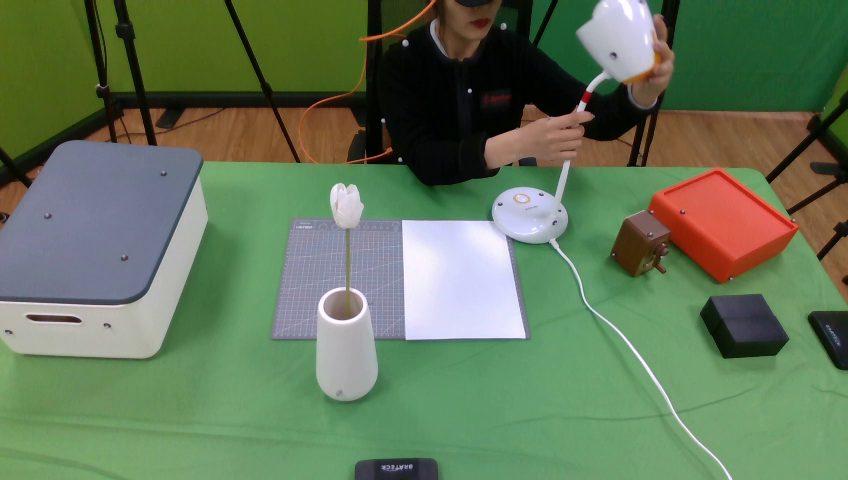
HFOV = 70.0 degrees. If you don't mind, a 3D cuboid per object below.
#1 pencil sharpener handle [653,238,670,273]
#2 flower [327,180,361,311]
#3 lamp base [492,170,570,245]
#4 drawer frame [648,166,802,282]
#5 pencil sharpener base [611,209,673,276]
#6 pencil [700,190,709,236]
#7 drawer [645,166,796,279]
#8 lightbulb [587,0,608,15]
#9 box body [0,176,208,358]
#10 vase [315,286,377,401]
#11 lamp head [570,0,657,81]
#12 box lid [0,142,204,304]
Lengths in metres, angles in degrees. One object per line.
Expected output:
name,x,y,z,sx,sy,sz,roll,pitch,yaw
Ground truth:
pencil sharpener handle,0.444,0.030,1.120,0.036,0.068,0.030,-25,52,-18
flower,-0.110,0.086,0.867,0.044,0.363,0.038,23,34,36
lamp base,0.234,-0.100,1.198,0.161,0.181,0.178,-24,56,-24
drawer frame,0.603,-0.040,1.234,0.202,0.083,0.212,-21,51,-23
pencil sharpener base,0.416,0.007,1.158,0.061,0.107,0.076,-21,51,-22
pencil,0.583,-0.058,1.257,0.012,0.012,0.193,16,35,12
drawer,0.600,-0.040,1.236,0.195,0.073,0.210,-21,52,-23
lightbulb,0.299,-0.336,0.954,0.059,0.059,0.107,-27,85,-26
box body,-0.546,0.017,1.045,0.254,0.161,0.361,2,46,-2
vase,-0.119,0.159,0.911,0.098,0.201,0.097,2,47,-2
lamp head,0.305,-0.312,0.957,0.112,0.112,0.123,-33,97,-30
box lid,-0.534,-0.044,0.994,0.263,0.015,0.369,3,45,-3
